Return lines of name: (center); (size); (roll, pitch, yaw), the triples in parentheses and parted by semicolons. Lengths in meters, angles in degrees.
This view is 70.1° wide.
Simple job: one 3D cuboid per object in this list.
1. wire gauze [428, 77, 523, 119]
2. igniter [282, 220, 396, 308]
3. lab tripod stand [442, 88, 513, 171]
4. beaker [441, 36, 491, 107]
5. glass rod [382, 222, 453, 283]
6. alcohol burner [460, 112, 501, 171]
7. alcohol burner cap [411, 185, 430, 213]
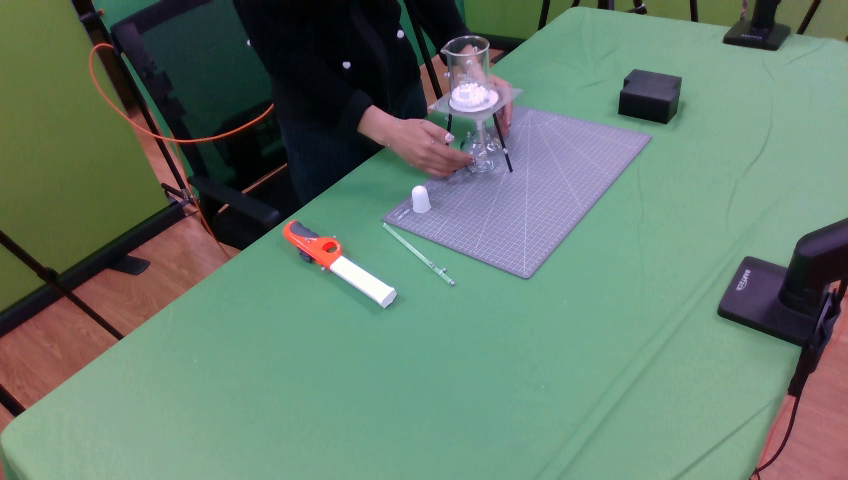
wire gauze: (0.090, -0.249, 1.063); (0.120, 0.011, 0.125); (24, 48, 30)
igniter: (-0.146, 0.032, 0.966); (0.274, 0.025, 0.057); (30, 64, 37)
lab tripod stand: (0.097, -0.200, 1.107); (0.148, 0.132, 0.147); (-4, 40, 4)
beaker: (0.074, -0.287, 1.036); (0.084, 0.101, 0.073); (-1, 41, 8)
glass rod: (-0.014, 0.016, 0.976); (0.008, 0.008, 0.198); (-30, 44, -22)
alcohol burner: (0.103, -0.186, 1.105); (0.078, 0.119, 0.077); (-4, 42, 4)
alcohol burner cap: (-0.008, -0.074, 1.050); (0.034, 0.048, 0.033); (-5, 39, 4)
